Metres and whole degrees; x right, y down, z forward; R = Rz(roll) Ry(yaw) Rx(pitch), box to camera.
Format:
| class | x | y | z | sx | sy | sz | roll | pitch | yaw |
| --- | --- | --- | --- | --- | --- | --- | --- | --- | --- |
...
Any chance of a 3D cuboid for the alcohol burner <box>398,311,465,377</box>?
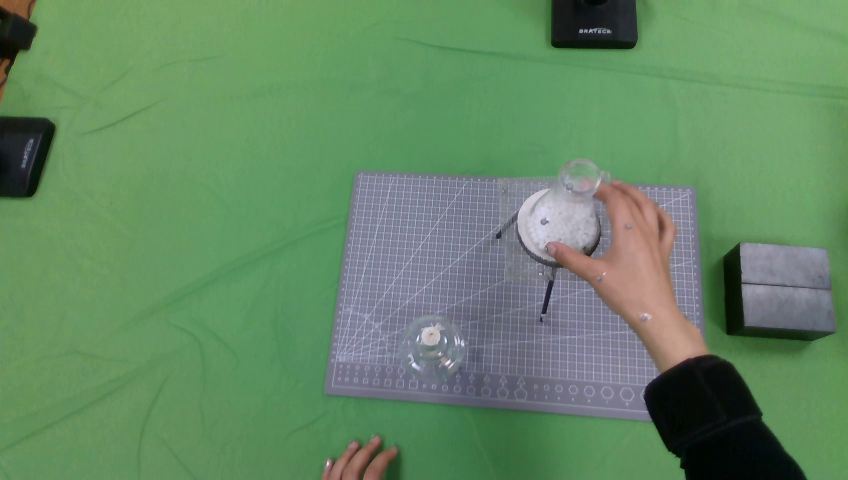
| class | x | y | z | sx | sy | sz | roll | pitch | yaw |
| --- | --- | --- | --- | --- | --- | --- | --- | --- | --- |
| alcohol burner | 0.008 | 0.114 | 0.685 | 0.078 | 0.120 | 0.077 | 0 | 70 | 2 |

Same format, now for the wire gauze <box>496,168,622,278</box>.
| class | x | y | z | sx | sy | sz | roll | pitch | yaw |
| --- | --- | --- | --- | --- | --- | --- | --- | --- | --- |
| wire gauze | 0.142 | -0.018 | 0.642 | 0.125 | 0.011 | 0.120 | -1 | 72 | 0 |

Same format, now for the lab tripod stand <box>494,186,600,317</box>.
| class | x | y | z | sx | sy | sz | roll | pitch | yaw |
| --- | --- | --- | --- | --- | --- | --- | --- | --- | --- |
| lab tripod stand | 0.149 | 0.002 | 0.704 | 0.148 | 0.132 | 0.147 | -1 | 69 | 3 |

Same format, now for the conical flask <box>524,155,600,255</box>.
| class | x | y | z | sx | sy | sz | roll | pitch | yaw |
| --- | --- | --- | --- | --- | --- | --- | --- | --- | --- |
| conical flask | 0.139 | -0.038 | 0.586 | 0.075 | 0.123 | 0.075 | -1 | 70 | 3 |
